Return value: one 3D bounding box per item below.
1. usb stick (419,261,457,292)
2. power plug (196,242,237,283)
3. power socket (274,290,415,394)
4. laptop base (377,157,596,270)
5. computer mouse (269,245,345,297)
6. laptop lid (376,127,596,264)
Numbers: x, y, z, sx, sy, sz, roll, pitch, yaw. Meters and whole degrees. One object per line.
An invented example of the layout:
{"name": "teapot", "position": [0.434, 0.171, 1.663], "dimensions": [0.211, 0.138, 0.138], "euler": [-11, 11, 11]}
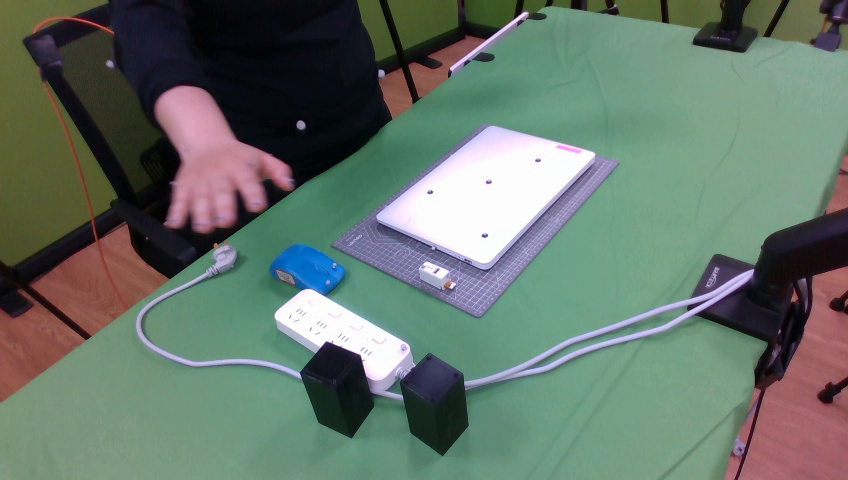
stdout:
{"name": "usb stick", "position": [0.022, 0.056, 0.893], "dimensions": [0.059, 0.027, 0.021], "euler": [28, 54, 29]}
{"name": "power plug", "position": [-0.335, 0.031, 0.968], "dimensions": [0.073, 0.035, 0.052], "euler": [-18, 58, -28]}
{"name": "power socket", "position": [-0.114, 0.133, 0.820], "dimensions": [0.225, 0.033, 0.072], "euler": [24, 49, 32]}
{"name": "laptop base", "position": [0.115, -0.086, 1.057], "dimensions": [0.233, 0.023, 0.355], "euler": [21, 48, 34]}
{"name": "computer mouse", "position": [-0.181, 0.045, 0.932], "dimensions": [0.116, 0.041, 0.063], "euler": [22, 46, 25]}
{"name": "laptop lid", "position": [0.113, -0.096, 1.050], "dimensions": [0.239, 0.013, 0.358], "euler": [24, 49, 35]}
